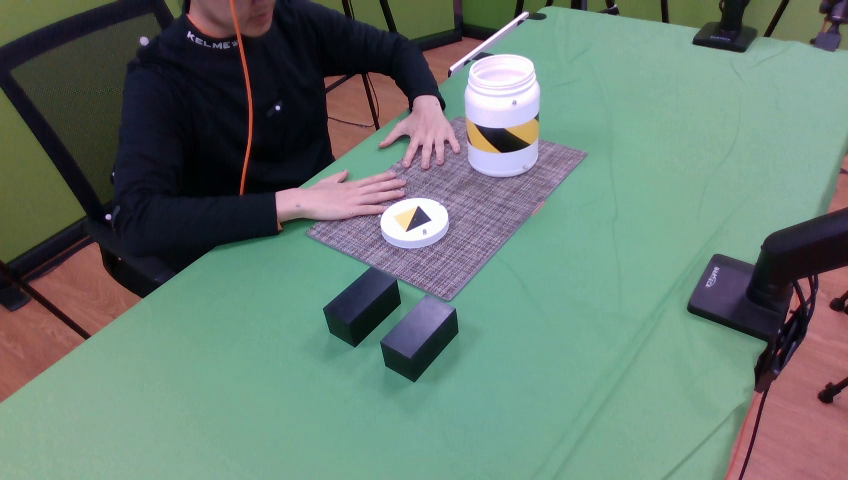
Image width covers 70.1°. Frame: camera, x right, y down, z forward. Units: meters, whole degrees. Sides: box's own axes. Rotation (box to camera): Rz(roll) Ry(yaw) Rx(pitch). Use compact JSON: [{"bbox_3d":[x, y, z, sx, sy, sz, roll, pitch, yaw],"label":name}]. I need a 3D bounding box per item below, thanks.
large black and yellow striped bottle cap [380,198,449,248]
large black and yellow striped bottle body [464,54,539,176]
[{"bbox_3d":[-0.016,-0.030,1.004,0.115,0.019,0.114,-5,40,4],"label":"large black and yellow striped bottle cap"},{"bbox_3d":[0.139,-0.221,1.075,0.131,0.185,0.130,-4,41,4],"label":"large black and yellow striped bottle body"}]
